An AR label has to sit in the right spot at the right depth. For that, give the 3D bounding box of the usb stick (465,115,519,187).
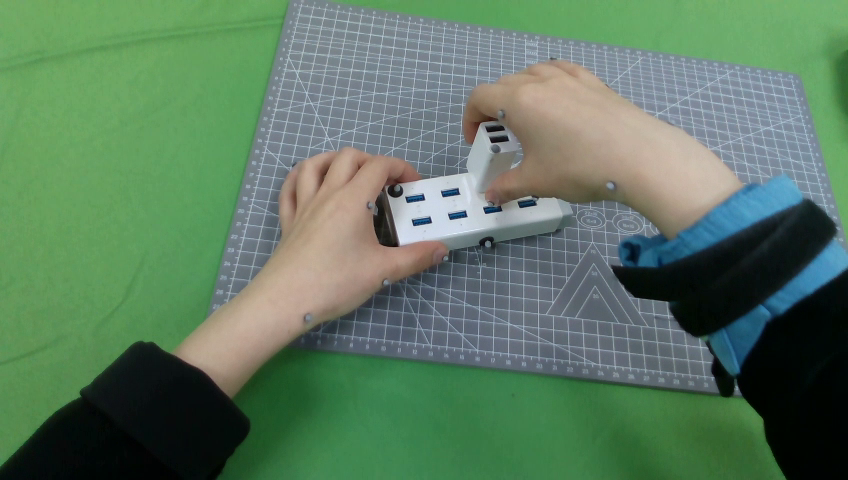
[{"bbox_3d":[0.043,-0.054,0.402,0.021,0.059,0.027,-11,62,-14],"label":"usb stick"}]

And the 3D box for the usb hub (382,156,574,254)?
[{"bbox_3d":[0.037,-0.026,0.421,0.125,0.025,0.049,-10,64,-12],"label":"usb hub"}]
